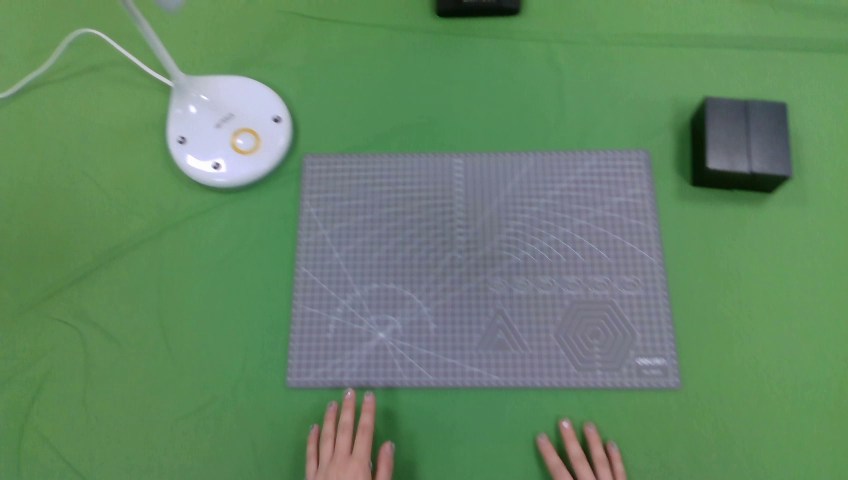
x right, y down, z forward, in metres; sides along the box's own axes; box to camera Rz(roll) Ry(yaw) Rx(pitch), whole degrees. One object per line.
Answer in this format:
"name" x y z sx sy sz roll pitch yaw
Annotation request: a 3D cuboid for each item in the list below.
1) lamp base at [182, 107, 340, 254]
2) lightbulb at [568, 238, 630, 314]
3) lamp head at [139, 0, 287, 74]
"lamp base" -0.207 -0.087 0.729 0.179 0.181 0.159 13 69 11
"lightbulb" 0.205 0.039 0.728 0.059 0.060 0.106 -19 53 -5
"lamp head" -0.173 -0.203 0.461 0.124 0.112 0.112 25 66 -27
